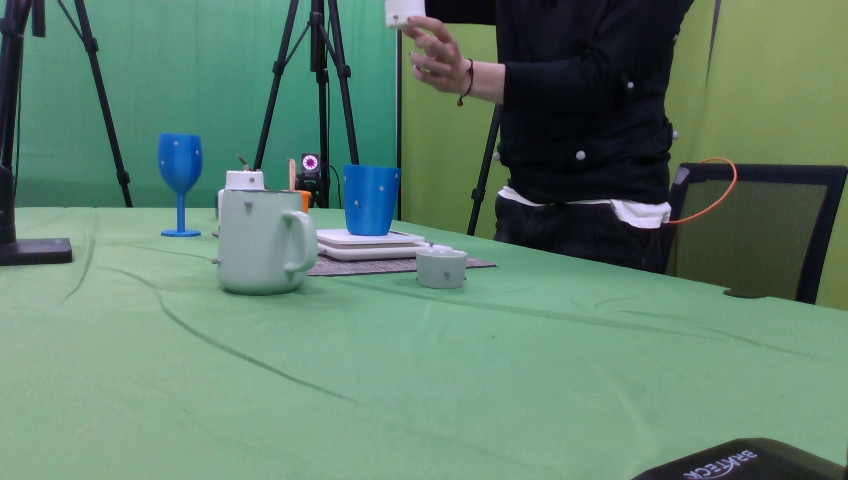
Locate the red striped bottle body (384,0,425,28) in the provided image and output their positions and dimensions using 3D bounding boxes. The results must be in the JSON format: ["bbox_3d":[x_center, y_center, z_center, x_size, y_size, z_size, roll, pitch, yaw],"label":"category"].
[{"bbox_3d":[-0.034,-0.393,0.929,0.063,0.119,0.063,-5,13,2],"label":"red striped bottle body"}]

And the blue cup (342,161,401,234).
[{"bbox_3d":[-0.079,-0.061,0.882,0.093,0.100,0.092,4,6,0],"label":"blue cup"}]

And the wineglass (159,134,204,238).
[{"bbox_3d":[-0.415,-0.093,1.039,0.074,0.172,0.073,2,7,0],"label":"wineglass"}]

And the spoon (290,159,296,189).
[{"bbox_3d":[-0.273,-0.102,1.252,0.042,0.193,0.021,7,-39,-17],"label":"spoon"}]

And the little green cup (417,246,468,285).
[{"bbox_3d":[0.021,0.029,0.701,0.061,0.038,0.061,1,6,0],"label":"little green cup"}]

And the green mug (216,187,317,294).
[{"bbox_3d":[-0.157,0.000,0.629,0.124,0.105,0.093,8,9,37],"label":"green mug"}]

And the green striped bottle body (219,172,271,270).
[{"bbox_3d":[-0.223,-0.025,0.755,0.063,0.119,0.063,2,7,0],"label":"green striped bottle body"}]

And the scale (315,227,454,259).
[{"bbox_3d":[-0.066,0.001,0.906,0.202,0.031,0.148,-2,8,-31],"label":"scale"}]

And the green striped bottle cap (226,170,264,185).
[{"bbox_3d":[-0.222,-0.077,0.748,0.044,0.020,0.044,1,7,0],"label":"green striped bottle cap"}]

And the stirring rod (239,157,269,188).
[{"bbox_3d":[-0.309,-0.098,1.209,0.006,0.177,0.014,-39,29,-4],"label":"stirring rod"}]
